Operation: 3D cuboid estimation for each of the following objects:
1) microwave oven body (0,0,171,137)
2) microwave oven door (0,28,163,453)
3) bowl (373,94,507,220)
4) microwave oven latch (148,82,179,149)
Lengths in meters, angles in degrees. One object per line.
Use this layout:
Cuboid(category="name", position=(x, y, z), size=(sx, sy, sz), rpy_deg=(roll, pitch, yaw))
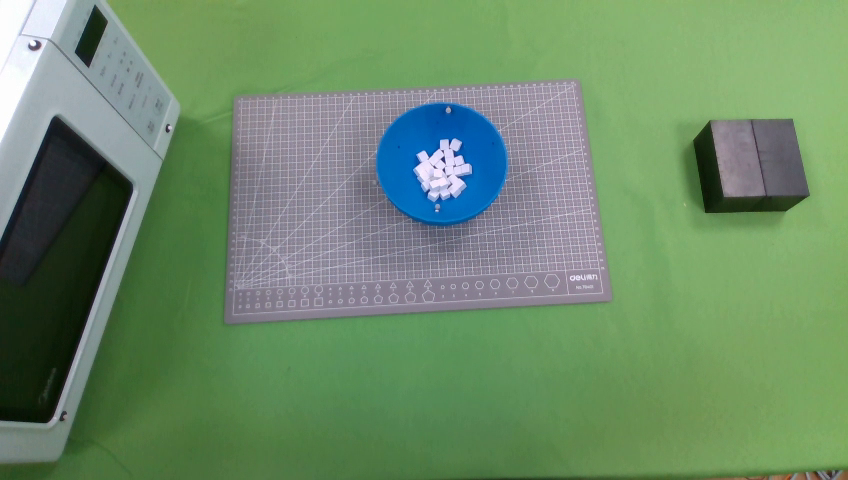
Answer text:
Cuboid(category="microwave oven body", position=(-0.504, -0.044, 0.603), size=(0.326, 0.261, 0.439), rpy_deg=(10, 74, 3))
Cuboid(category="microwave oven door", position=(-0.368, 0.020, 0.578), size=(0.039, 0.245, 0.354), rpy_deg=(10, 73, 4))
Cuboid(category="bowl", position=(0.018, -0.086, 0.712), size=(0.151, 0.077, 0.150), rpy_deg=(0, 73, 0))
Cuboid(category="microwave oven latch", position=(-0.324, -0.154, 0.738), size=(0.030, 0.029, 0.079), rpy_deg=(11, 74, 3))
